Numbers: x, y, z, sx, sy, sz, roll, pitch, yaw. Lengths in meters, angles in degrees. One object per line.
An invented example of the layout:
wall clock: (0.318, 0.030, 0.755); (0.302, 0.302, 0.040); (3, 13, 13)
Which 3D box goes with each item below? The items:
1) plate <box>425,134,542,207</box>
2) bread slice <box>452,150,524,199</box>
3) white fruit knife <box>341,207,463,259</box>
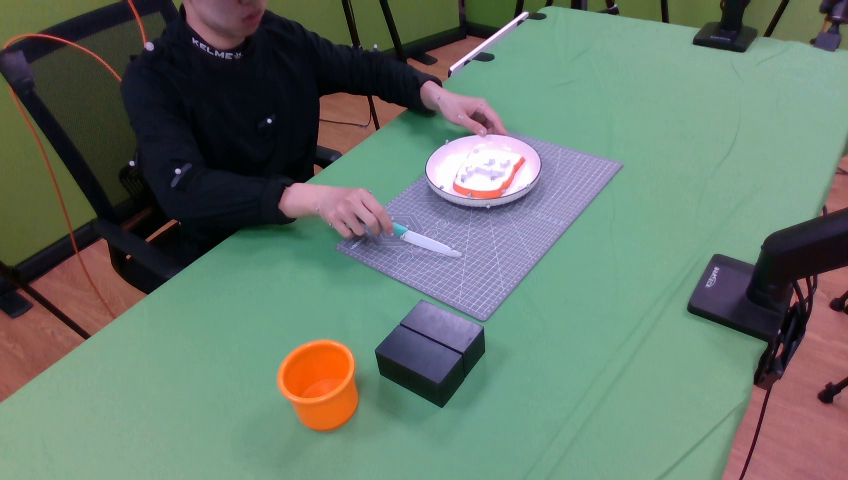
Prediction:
plate: (0.106, -0.121, 1.079); (0.209, 0.038, 0.208); (-4, 41, 4)
bread slice: (0.111, -0.119, 1.078); (0.104, 0.019, 0.131); (12, 43, 21)
white fruit knife: (-0.035, -0.011, 0.953); (0.207, 0.027, 0.016); (21, 39, 8)
